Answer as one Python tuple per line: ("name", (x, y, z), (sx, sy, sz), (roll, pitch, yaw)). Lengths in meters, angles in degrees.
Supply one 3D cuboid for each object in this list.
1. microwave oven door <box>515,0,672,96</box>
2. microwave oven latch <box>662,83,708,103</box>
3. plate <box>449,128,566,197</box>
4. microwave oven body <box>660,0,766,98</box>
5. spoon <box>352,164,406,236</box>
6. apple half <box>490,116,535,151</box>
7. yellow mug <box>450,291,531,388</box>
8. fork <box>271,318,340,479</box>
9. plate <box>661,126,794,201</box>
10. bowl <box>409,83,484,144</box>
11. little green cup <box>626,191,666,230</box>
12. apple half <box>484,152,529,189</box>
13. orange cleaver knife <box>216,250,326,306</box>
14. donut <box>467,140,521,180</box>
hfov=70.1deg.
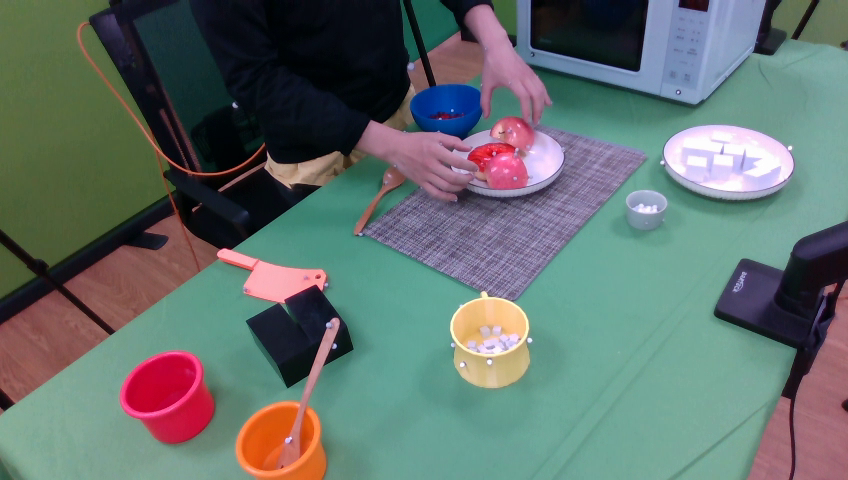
("microwave oven door", (0.343, -0.454, 1.259), (0.353, 0.245, 0.039), (26, 51, 33))
("microwave oven latch", (0.518, -0.296, 1.204), (0.078, 0.029, 0.030), (27, 52, 35))
("plate", (0.150, -0.138, 1.096), (0.209, 0.038, 0.208), (-4, 40, 4))
("microwave oven body", (0.472, -0.513, 1.317), (0.438, 0.261, 0.327), (26, 51, 34))
("spoon", (-0.083, -0.074, 1.074), (0.041, 0.022, 0.194), (22, 46, 10))
("apple half", (0.170, -0.201, 1.116), (0.075, 0.053, 0.080), (13, 14, -41))
("yellow mug", (0.085, 0.120, 0.786), (0.100, 0.064, 0.130), (-7, 39, 1))
("fork", (-0.132, 0.186, 0.676), (0.028, 0.019, 0.207), (18, 90, 28))
("plate", (0.513, -0.128, 1.035), (0.207, 0.039, 0.206), (-4, 40, 4))
("bowl", (0.048, -0.245, 1.213), (0.151, 0.077, 0.150), (-4, 40, 4))
("little green cup", (0.352, -0.046, 0.963), (0.061, 0.039, 0.061), (-4, 40, 4))
("apple half", (0.144, -0.117, 1.031), (0.081, 0.033, 0.081), (3, 78, -11))
("orange cleaver knife", (-0.248, 0.058, 0.945), (0.210, 0.012, 0.077), (13, 49, 20))
("donut", (0.126, -0.145, 1.091), (0.099, 0.048, 0.098), (-5, 41, 5))
